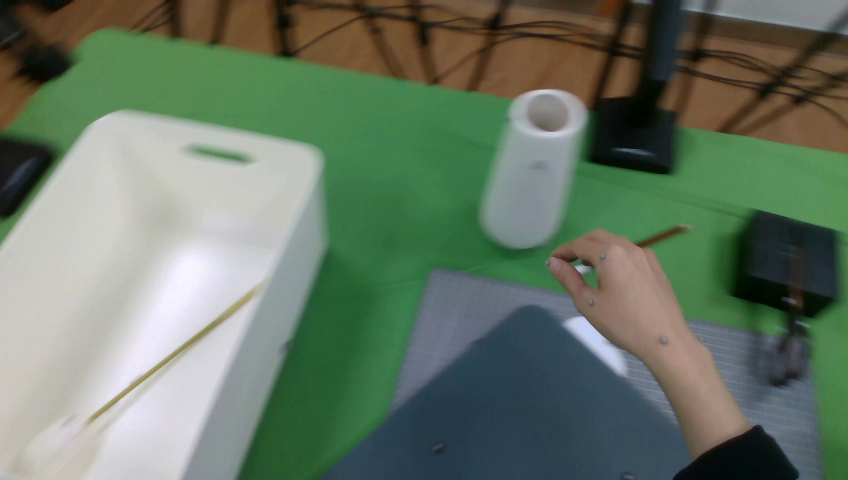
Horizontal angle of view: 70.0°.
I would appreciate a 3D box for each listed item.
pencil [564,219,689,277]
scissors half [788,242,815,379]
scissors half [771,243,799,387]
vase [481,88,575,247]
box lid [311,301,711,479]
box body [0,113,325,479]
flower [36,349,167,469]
[{"bbox_3d":[0.258,0.007,0.761,0.194,0.012,0.012,-22,59,-16],"label":"pencil"},{"bbox_3d":[0.409,0.070,0.662,0.013,0.040,0.174,13,53,10],"label":"scissors half"},{"bbox_3d":[0.409,0.081,0.680,0.013,0.040,0.174,16,70,6],"label":"scissors half"},{"bbox_3d":[0.119,-0.079,0.701,0.098,0.202,0.097,0,55,0],"label":"vase"},{"bbox_3d":[0.080,0.244,0.599,0.371,0.015,0.261,-36,65,-21],"label":"box lid"},{"bbox_3d":[-0.269,0.069,0.617,0.254,0.162,0.361,10,57,6],"label":"box body"},{"bbox_3d":[-0.274,0.109,0.693,0.038,0.044,0.360,0,31,30],"label":"flower"}]
